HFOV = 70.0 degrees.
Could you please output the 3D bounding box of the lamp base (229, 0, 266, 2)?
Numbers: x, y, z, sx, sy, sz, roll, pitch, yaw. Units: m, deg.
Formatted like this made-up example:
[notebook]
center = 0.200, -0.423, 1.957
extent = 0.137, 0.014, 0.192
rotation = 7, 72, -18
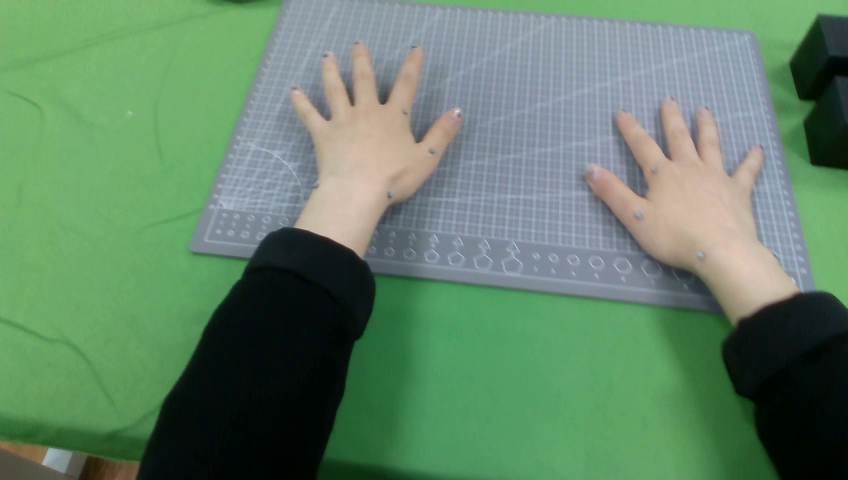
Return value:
[lamp base]
center = -0.180, -0.349, 0.564
extent = 0.160, 0.182, 0.177
rotation = -30, 60, -18
